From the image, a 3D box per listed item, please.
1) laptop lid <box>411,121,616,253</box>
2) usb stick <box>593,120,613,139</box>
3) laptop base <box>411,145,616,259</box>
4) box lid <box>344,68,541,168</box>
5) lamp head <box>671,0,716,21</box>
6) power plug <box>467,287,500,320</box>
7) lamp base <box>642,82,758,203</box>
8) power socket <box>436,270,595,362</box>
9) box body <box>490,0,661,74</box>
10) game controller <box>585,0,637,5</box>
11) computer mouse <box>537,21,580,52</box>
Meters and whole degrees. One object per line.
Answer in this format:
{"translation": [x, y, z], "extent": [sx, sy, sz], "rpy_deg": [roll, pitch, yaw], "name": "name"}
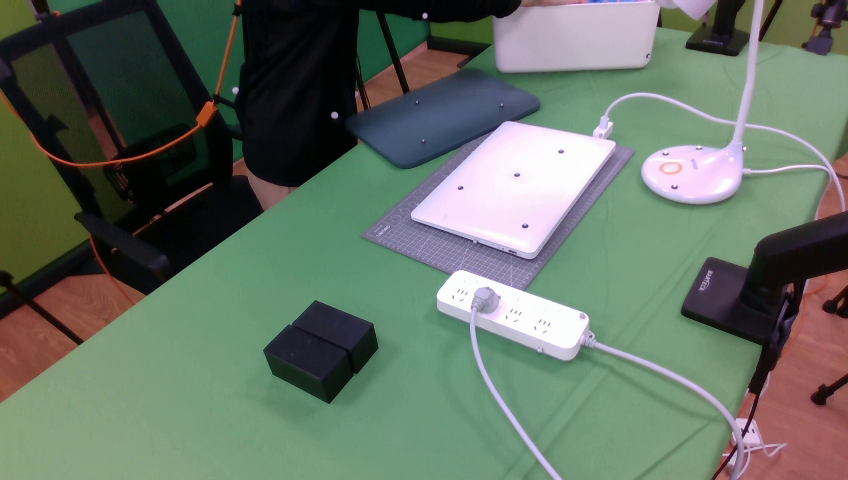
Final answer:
{"translation": [0.165, -0.111, 1.067], "extent": [0.240, 0.013, 0.357], "rpy_deg": [19, 46, 31], "name": "laptop lid"}
{"translation": [0.336, -0.201, 1.147], "extent": [0.021, 0.027, 0.059], "rpy_deg": [26, 53, 27], "name": "usb stick"}
{"translation": [0.168, -0.101, 1.074], "extent": [0.234, 0.023, 0.355], "rpy_deg": [17, 46, 30], "name": "laptop base"}
{"translation": [0.040, -0.272, 1.300], "extent": [0.373, 0.015, 0.261], "rpy_deg": [-28, 44, -22], "name": "box lid"}
{"translation": [0.375, -0.373, 0.807], "extent": [0.122, 0.113, 0.112], "rpy_deg": [-40, 27, 32], "name": "lamp head"}
{"translation": [0.073, 0.092, 0.814], "extent": [0.035, 0.053, 0.073], "rpy_deg": [29, 54, 34], "name": "power plug"}
{"translation": [0.464, -0.174, 0.992], "extent": [0.179, 0.181, 0.159], "rpy_deg": [-5, 41, -2], "name": "lamp base"}
{"translation": [0.118, 0.101, 0.832], "extent": [0.225, 0.033, 0.072], "rpy_deg": [19, 48, 27], "name": "power socket"}
{"translation": [0.346, -0.520, 1.429], "extent": [0.363, 0.161, 0.253], "rpy_deg": [0, 41, 9], "name": "box body"}
{"translation": [0.426, -0.548, 1.426], "extent": [0.155, 0.052, 0.096], "rpy_deg": [-16, 44, -10], "name": "game controller"}
{"translation": [0.334, -0.503, 1.488], "extent": [0.118, 0.041, 0.062], "rpy_deg": [21, 21, -28], "name": "computer mouse"}
